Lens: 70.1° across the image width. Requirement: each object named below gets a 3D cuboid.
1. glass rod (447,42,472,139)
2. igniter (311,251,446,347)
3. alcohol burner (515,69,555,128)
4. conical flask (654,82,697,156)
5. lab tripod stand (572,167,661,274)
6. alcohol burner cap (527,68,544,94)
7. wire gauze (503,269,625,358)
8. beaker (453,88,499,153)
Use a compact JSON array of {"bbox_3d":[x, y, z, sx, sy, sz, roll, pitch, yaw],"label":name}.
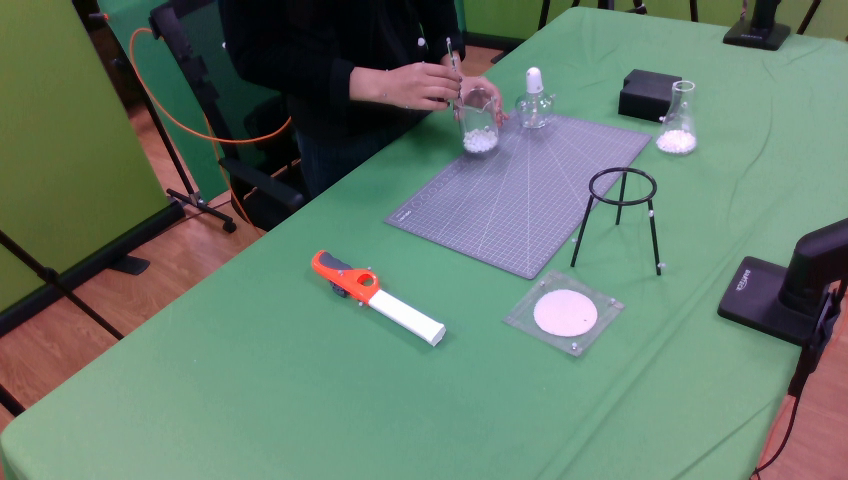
[{"bbox_3d":[0.065,-0.261,1.077,0.008,0.201,0.008,-10,43,10],"label":"glass rod"},{"bbox_3d":[-0.078,0.081,0.899,0.274,0.025,0.057,27,62,35],"label":"igniter"},{"bbox_3d":[0.221,-0.285,1.203,0.078,0.119,0.077,-4,39,4],"label":"alcohol burner"},{"bbox_3d":[0.454,-0.218,1.076,0.075,0.122,0.075,-5,40,5],"label":"conical flask"},{"bbox_3d":[0.283,-0.030,0.879,0.148,0.132,0.147,-7,38,6],"label":"lab tripod stand"},{"bbox_3d":[0.216,-0.312,1.179,0.034,0.048,0.033,-9,40,9],"label":"alcohol burner cap"},{"bbox_3d":[0.194,0.100,0.840,0.120,0.011,0.125,27,54,36],"label":"wire gauze"},{"bbox_3d":[0.100,-0.216,1.111,0.074,0.101,0.083,-16,39,-3],"label":"beaker"}]
